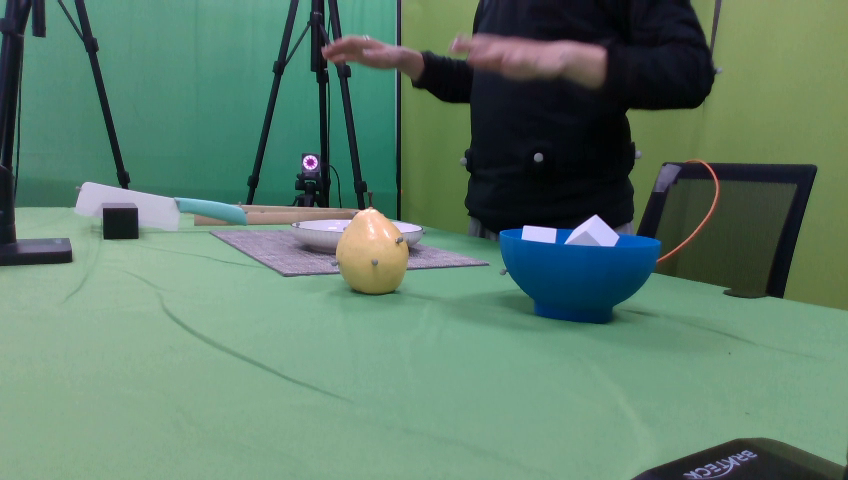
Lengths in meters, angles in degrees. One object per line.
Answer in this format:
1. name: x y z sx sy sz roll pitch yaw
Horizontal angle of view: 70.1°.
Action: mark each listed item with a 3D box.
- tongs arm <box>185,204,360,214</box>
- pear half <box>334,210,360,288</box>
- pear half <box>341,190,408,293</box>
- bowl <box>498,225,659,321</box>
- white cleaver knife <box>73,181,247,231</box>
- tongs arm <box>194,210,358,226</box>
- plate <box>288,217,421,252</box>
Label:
1. tongs arm: -0.337 -0.065 1.377 0.387 0.026 0.050 0 9 -25
2. pear half: -0.076 0.008 0.663 0.031 0.088 0.071 7 18 33
3. pear half: -0.047 0.002 0.641 0.055 0.110 0.076 5 18 32
4. bowl: 0.144 0.031 0.585 0.151 0.077 0.151 2 7 0
5. white cleaver knife: -0.465 -0.052 1.090 0.288 0.066 0.021 9 7 -30
6. tongs arm: -0.298 -0.049 1.308 0.390 0.028 0.028 -3 8 -38
7. plate: -0.109 -0.008 0.956 0.208 0.039 0.207 2 7 0
